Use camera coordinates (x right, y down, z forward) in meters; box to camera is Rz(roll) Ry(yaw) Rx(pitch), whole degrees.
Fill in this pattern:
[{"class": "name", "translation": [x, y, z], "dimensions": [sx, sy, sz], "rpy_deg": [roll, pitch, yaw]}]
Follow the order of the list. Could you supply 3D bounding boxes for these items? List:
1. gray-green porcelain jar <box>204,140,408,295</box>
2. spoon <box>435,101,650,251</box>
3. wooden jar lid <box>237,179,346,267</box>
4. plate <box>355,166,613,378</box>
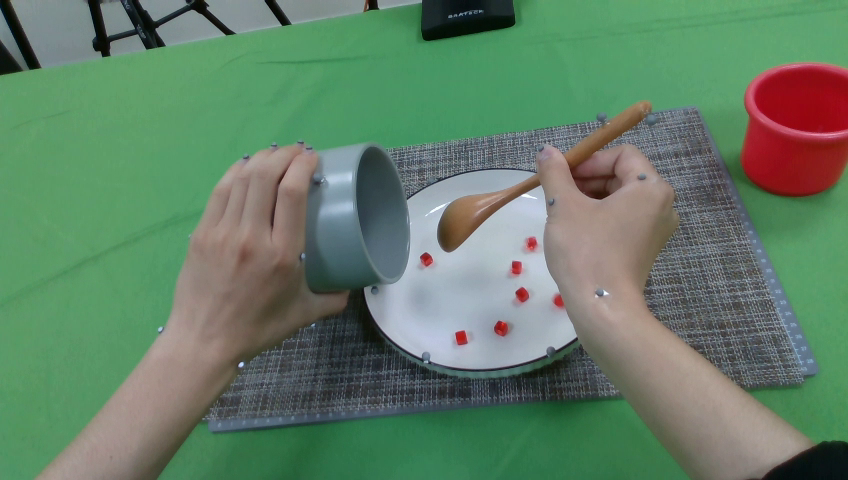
[{"class": "gray-green porcelain jar", "translation": [-0.089, -0.013, 0.457], "dimensions": [0.126, 0.107, 0.105], "rpy_deg": [-7, 49, 17]}, {"class": "spoon", "translation": [0.072, -0.042, 0.425], "dimensions": [0.193, 0.022, 0.041], "rpy_deg": [-30, 49, 37]}, {"class": "wooden jar lid", "translation": [-0.127, -0.015, 0.587], "dimensions": [0.108, 0.021, 0.107], "rpy_deg": [-6, 48, 7]}, {"class": "plate", "translation": [0.048, 0.024, 0.500], "dimensions": [0.207, 0.039, 0.205], "rpy_deg": [-7, 49, 8]}]
